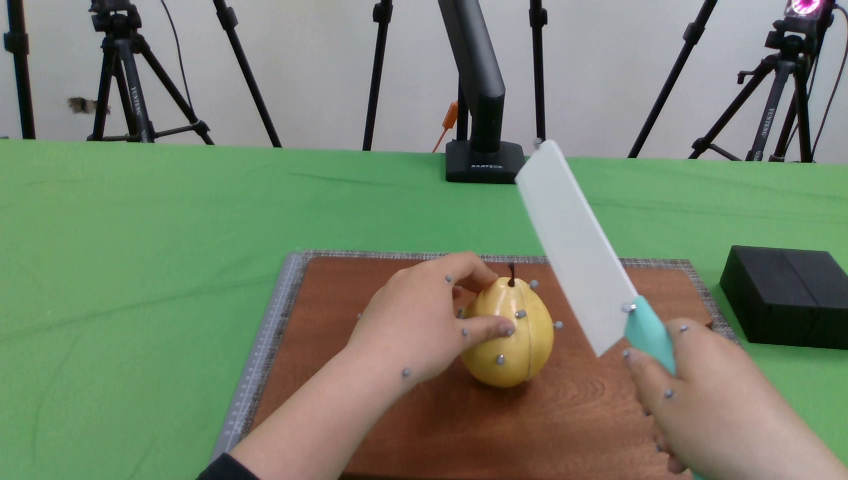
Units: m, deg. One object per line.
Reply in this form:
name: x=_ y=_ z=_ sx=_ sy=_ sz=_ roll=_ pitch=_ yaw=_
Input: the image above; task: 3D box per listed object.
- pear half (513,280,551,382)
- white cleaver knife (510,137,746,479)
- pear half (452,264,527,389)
pear half: x=0.086 y=0.072 z=0.494 sx=0.031 sy=0.088 sz=0.070 roll=-6 pitch=26 yaw=-12
white cleaver knife: x=0.123 y=0.045 z=0.410 sx=0.021 sy=0.066 sz=0.283 roll=-4 pitch=54 yaw=-23
pear half: x=0.052 y=0.066 z=0.484 sx=0.056 sy=0.110 sz=0.075 roll=-7 pitch=30 yaw=-12
